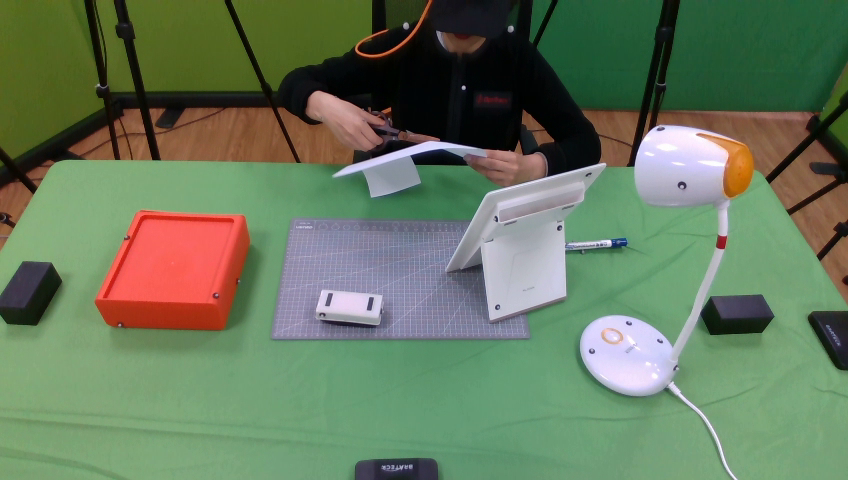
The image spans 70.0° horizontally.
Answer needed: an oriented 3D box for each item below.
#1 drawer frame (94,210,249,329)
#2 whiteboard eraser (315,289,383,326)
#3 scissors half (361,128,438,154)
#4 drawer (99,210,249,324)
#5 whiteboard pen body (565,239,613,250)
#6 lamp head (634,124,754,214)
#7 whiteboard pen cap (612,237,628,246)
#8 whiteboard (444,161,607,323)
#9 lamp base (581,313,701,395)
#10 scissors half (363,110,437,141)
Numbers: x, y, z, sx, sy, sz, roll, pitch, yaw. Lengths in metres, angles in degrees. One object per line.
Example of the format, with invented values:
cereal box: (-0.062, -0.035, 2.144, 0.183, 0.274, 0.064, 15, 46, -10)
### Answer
drawer frame: (-0.434, 0.048, 1.076, 0.202, 0.083, 0.212, 2, 47, -3)
whiteboard eraser: (-0.130, 0.119, 1.054, 0.113, 0.042, 0.055, 6, 47, 1)
scissors half: (-0.051, -0.207, 1.239, 0.175, 0.040, 0.013, -10, 6, 25)
drawer: (-0.435, 0.044, 1.081, 0.194, 0.073, 0.210, 3, 47, -2)
whiteboard pen body: (0.331, 0.008, 1.211, 0.141, 0.017, 0.017, -5, 47, -4)
lamp head: (0.351, -0.089, 0.776, 0.112, 0.113, 0.122, -30, 30, -28)
whiteboard pen cap: (0.390, 0.004, 1.215, 0.033, 0.018, 0.018, -7, 47, -2)
whiteboard: (0.186, 0.025, 1.029, 0.217, 0.306, 0.143, -14, 68, -18)
lamp base: (0.361, 0.144, 0.972, 0.178, 0.181, 0.160, 34, 53, 23)
scissors half: (-0.049, -0.230, 1.236, 0.174, 0.040, 0.013, 23, 15, 20)
